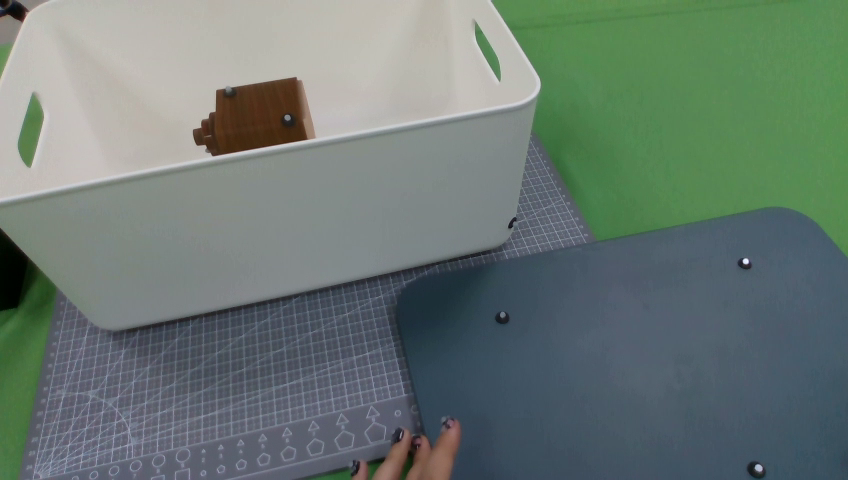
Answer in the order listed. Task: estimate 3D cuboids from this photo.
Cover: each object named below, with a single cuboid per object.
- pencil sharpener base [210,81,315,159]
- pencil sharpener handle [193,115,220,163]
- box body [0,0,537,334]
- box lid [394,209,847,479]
[{"bbox_3d":[-0.131,-0.071,0.519,0.077,0.108,0.060,-11,50,-6],"label":"pencil sharpener base"},{"bbox_3d":[-0.182,-0.070,0.504,0.031,0.068,0.035,-11,52,-6],"label":"pencil sharpener handle"},{"bbox_3d":[-0.119,-0.090,0.507,0.364,0.162,0.251,-12,49,-8],"label":"box body"},{"bbox_3d":[0.176,0.100,0.429,0.372,0.015,0.260,-11,49,-8],"label":"box lid"}]
